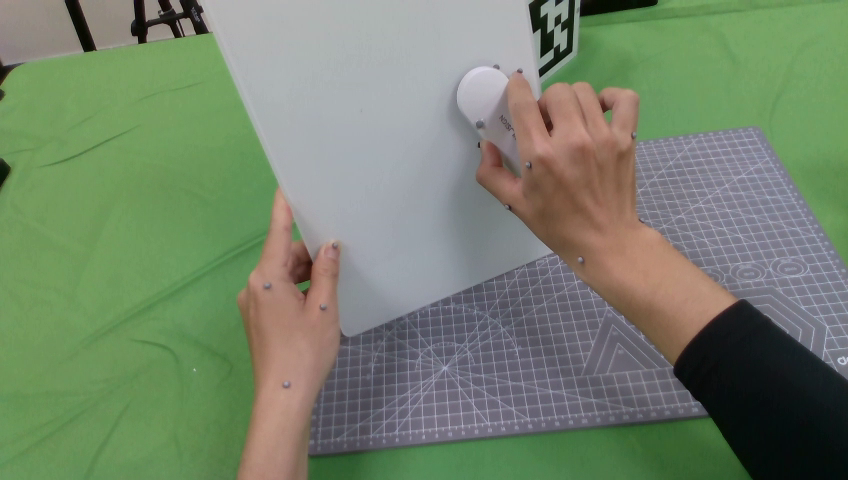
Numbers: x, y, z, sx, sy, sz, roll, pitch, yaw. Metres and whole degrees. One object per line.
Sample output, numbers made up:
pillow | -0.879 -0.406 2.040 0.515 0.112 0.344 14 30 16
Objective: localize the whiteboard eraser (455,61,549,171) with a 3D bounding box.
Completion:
whiteboard eraser | 0.062 -0.094 0.468 0.041 0.102 0.018 -44 33 1

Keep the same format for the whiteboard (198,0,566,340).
whiteboard | -0.028 -0.110 0.514 0.217 0.308 0.142 -22 31 -8
